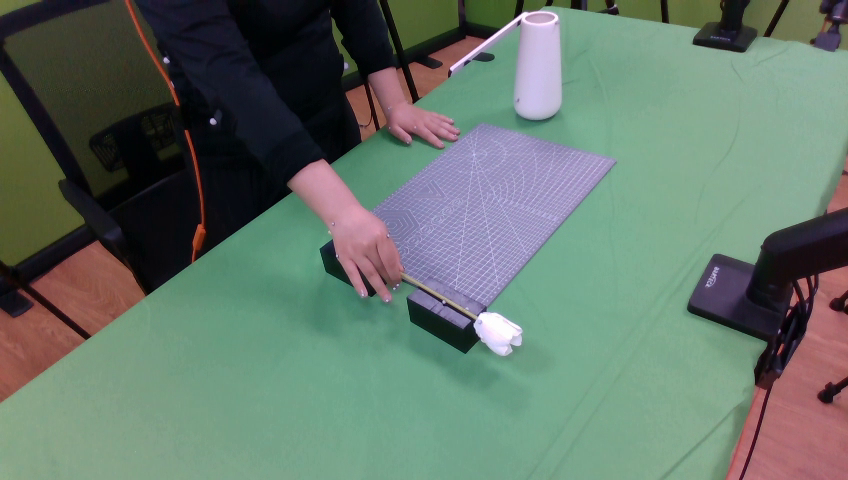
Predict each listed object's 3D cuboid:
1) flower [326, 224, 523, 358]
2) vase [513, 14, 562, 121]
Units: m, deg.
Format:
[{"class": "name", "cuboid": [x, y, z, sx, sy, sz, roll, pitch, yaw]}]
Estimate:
[{"class": "flower", "cuboid": [-0.017, 0.054, 0.836, 0.359, 0.038, 0.044, 31, 86, 32]}, {"class": "vase", "cuboid": [0.225, -0.336, 1.196, 0.098, 0.201, 0.097, -5, 42, 5]}]
